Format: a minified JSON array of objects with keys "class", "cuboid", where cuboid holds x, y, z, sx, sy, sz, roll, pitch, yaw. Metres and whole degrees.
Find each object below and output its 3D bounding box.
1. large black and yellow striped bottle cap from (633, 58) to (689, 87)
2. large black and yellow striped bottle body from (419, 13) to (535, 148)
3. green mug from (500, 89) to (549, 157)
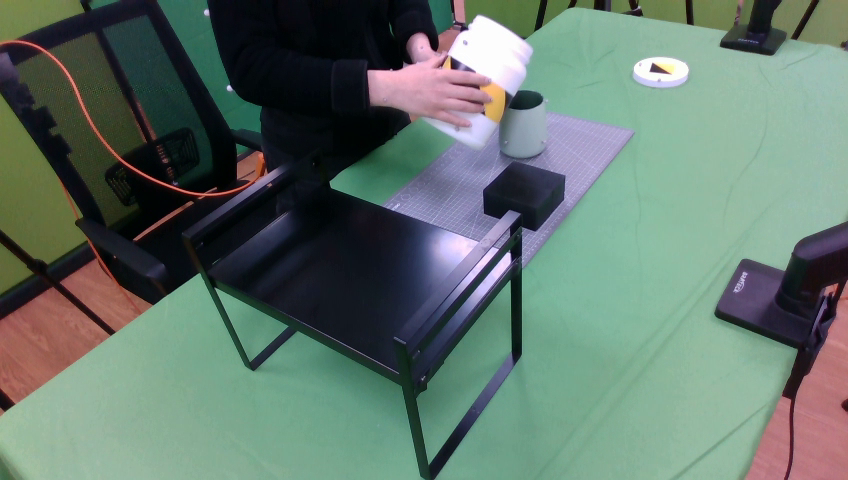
[{"class":"large black and yellow striped bottle cap","cuboid":[0.521,-0.370,1.332,0.115,0.019,0.114,-3,41,4]},{"class":"large black and yellow striped bottle body","cuboid":[0.089,-0.261,0.994,0.131,0.184,0.130,29,14,-7]},{"class":"green mug","cuboid":[0.196,-0.228,1.145,0.092,0.105,0.125,15,46,25]}]
